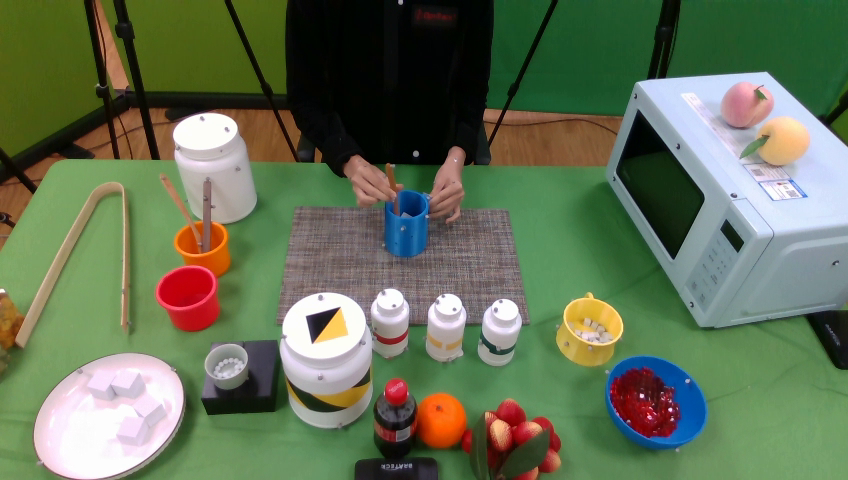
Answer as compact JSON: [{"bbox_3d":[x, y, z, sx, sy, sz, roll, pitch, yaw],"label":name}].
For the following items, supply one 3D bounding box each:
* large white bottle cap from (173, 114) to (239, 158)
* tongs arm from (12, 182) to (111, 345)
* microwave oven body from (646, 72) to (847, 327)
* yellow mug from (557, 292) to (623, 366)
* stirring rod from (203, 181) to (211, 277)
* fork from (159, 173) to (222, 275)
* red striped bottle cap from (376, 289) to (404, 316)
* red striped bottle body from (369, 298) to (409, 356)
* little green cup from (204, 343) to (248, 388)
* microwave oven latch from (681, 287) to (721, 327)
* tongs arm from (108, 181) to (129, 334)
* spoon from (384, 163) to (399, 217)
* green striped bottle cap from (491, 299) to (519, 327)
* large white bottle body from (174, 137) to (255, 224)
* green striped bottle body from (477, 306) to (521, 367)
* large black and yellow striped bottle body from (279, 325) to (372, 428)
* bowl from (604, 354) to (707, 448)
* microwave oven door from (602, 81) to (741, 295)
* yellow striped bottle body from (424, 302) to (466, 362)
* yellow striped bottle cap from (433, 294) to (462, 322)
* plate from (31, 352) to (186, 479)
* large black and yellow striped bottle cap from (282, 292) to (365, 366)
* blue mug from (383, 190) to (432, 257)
[{"bbox_3d":[-0.403,-0.195,1.122,0.115,0.018,0.114,2,47,-2],"label":"large white bottle cap"},{"bbox_3d":[-0.657,0.027,1.109,0.028,0.028,0.385,-2,45,1],"label":"tongs arm"},{"bbox_3d":[0.607,-0.089,1.164,0.326,0.261,0.438,-7,46,-10],"label":"microwave oven body"},{"bbox_3d":[0.285,0.145,1.051,0.100,0.064,0.130,7,45,4],"label":"yellow mug"},{"bbox_3d":[-0.396,-0.021,1.107,0.014,0.006,0.176,-1,89,-1],"label":"stirring rod"},{"bbox_3d":[-0.427,-0.029,1.103,0.028,0.018,0.207,-31,99,-31],"label":"fork"},{"bbox_3d":[-0.055,0.098,0.958,0.044,0.018,0.044,0,48,0],"label":"red striped bottle cap"},{"bbox_3d":[-0.058,0.134,0.997,0.063,0.120,0.062,4,47,-4],"label":"red striped bottle body"},{"bbox_3d":[-0.294,0.190,0.909,0.061,0.039,0.061,1,48,-1],"label":"little green cup"},{"bbox_3d":[0.494,0.119,1.087,0.030,0.029,0.078,-6,46,-9],"label":"microwave oven latch"},{"bbox_3d":[-0.571,0.019,1.123,0.051,0.026,0.382,-10,47,-12],"label":"tongs arm"},{"bbox_3d":[-0.056,-0.070,1.110,0.041,0.195,0.021,25,54,25],"label":"spoon"},{"bbox_3d":[0.128,0.115,0.958,0.044,0.020,0.044,1,47,-1],"label":"green striped bottle cap"},{"bbox_3d":[-0.408,-0.136,1.183,0.131,0.185,0.130,2,46,-2],"label":"large white bottle body"},{"bbox_3d":[0.124,0.151,0.995,0.063,0.120,0.063,2,46,-2],"label":"green striped bottle body"},{"bbox_3d":[-0.143,0.181,0.900,0.131,0.185,0.130,2,46,-2],"label":"large black and yellow striped bottle body"},{"bbox_3d":[0.346,0.261,0.937,0.151,0.077,0.150,2,46,-2],"label":"bowl"},{"bbox_3d":[0.456,-0.107,1.162,0.039,0.245,0.353,-7,47,-11],"label":"microwave oven door"},{"bbox_3d":[0.035,0.143,0.995,0.063,0.121,0.062,3,46,-2],"label":"yellow striped bottle body"},{"bbox_3d":[0.037,0.107,0.958,0.044,0.019,0.044,2,45,-2],"label":"yellow striped bottle cap"},{"bbox_3d":[-0.459,0.262,0.897,0.209,0.038,0.208,2,45,-2],"label":"plate"},{"bbox_3d":[-0.139,0.121,0.841,0.115,0.019,0.114,3,47,-3],"label":"large black and yellow striped bottle cap"},{"bbox_3d":[-0.026,-0.039,1.172,0.082,0.106,0.116,35,53,26],"label":"blue mug"}]
